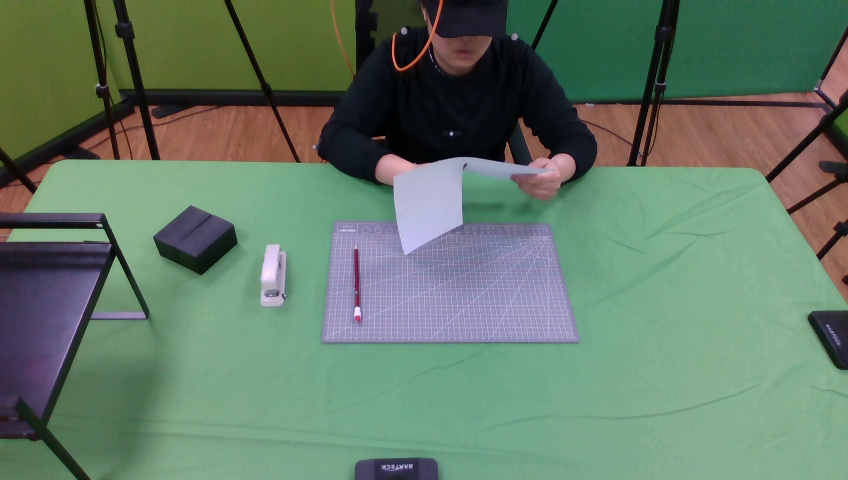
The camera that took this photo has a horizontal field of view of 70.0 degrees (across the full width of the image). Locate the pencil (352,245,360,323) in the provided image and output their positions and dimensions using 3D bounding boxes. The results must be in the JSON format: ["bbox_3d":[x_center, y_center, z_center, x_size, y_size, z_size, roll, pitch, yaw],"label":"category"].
[{"bbox_3d":[-0.127,0.076,1.120,0.012,0.012,0.192,-2,44,-7],"label":"pencil"}]

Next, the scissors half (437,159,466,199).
[{"bbox_3d":[0.055,-0.120,1.173,0.013,0.175,0.040,-13,76,-18],"label":"scissors half"}]

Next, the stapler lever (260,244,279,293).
[{"bbox_3d":[-0.279,0.045,1.096,0.027,0.040,0.117,-2,44,-9],"label":"stapler lever"}]

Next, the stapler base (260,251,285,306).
[{"bbox_3d":[-0.279,0.064,1.113,0.041,0.024,0.129,-2,44,-9],"label":"stapler base"}]

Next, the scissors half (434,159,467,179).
[{"bbox_3d":[0.051,-0.141,1.174,0.013,0.040,0.174,-7,6,-18],"label":"scissors half"}]
